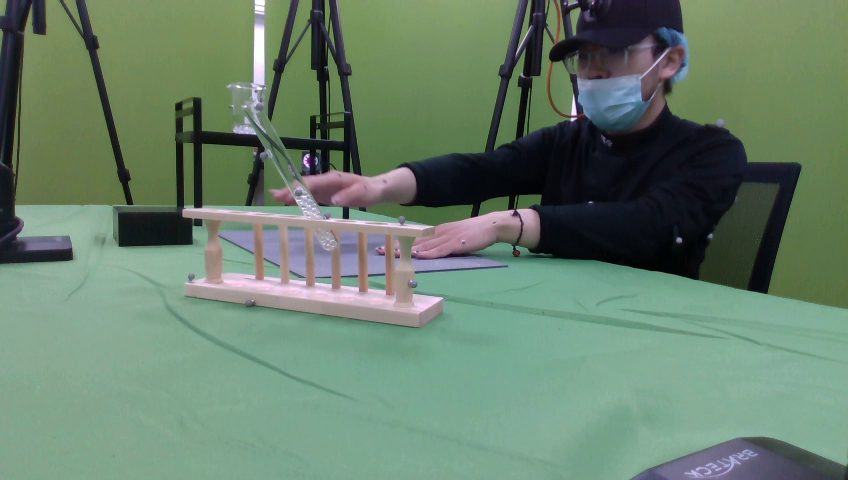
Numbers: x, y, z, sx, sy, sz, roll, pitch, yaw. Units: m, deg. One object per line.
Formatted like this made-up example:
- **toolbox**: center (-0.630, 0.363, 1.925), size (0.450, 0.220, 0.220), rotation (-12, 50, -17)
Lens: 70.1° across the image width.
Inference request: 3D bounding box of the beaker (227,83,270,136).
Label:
- **beaker**: center (-0.354, -0.262, 1.224), size (0.084, 0.100, 0.073), rotation (-2, 8, -28)

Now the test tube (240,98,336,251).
- **test tube**: center (-0.116, -0.053, 0.528), size (0.017, 0.151, 0.017), rotation (-21, 24, 10)

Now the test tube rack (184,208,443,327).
- **test tube rack**: center (-0.106, 0.019, 0.570), size (0.241, 0.085, 0.067), rotation (5, 8, 19)
